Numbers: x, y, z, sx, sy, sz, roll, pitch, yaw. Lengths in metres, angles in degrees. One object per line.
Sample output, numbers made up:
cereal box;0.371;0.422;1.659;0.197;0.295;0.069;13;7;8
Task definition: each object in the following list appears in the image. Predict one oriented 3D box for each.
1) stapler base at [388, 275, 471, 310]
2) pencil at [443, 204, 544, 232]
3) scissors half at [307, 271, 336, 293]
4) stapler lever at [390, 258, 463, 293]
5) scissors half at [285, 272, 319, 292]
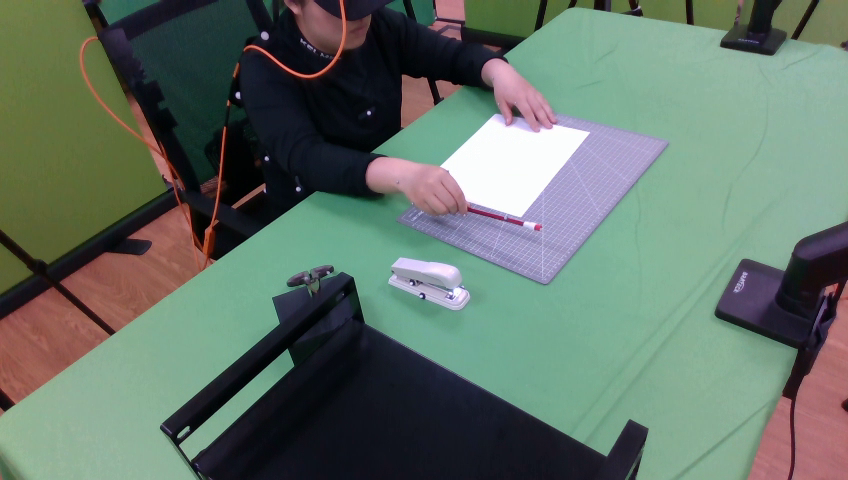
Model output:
stapler base;0.007;0.066;0.897;0.129;0.024;0.041;17;43;29
pencil;0.104;-0.038;0.956;0.192;0.012;0.012;17;45;38
scissors half;-0.152;0.061;0.872;0.040;0.013;0.175;-3;6;-4
stapler lever;0.003;0.046;0.881;0.117;0.040;0.027;17;44;29
scissors half;-0.171;0.063;0.868;0.040;0.013;0.174;-11;7;-21
